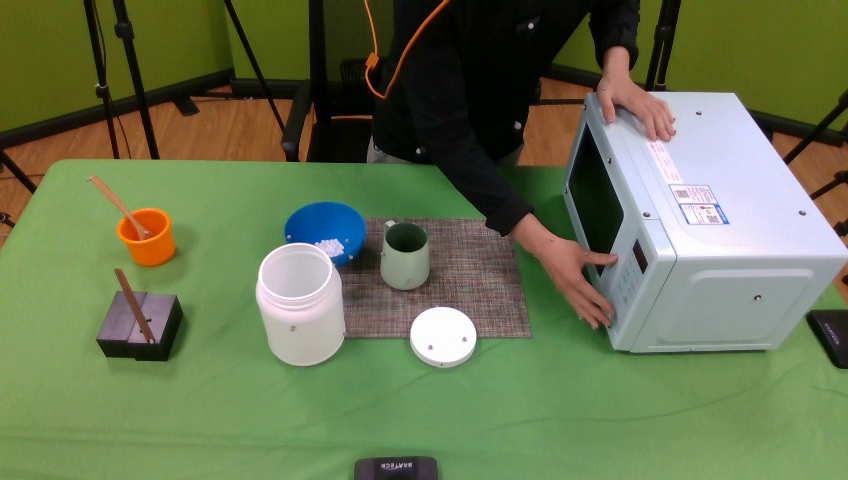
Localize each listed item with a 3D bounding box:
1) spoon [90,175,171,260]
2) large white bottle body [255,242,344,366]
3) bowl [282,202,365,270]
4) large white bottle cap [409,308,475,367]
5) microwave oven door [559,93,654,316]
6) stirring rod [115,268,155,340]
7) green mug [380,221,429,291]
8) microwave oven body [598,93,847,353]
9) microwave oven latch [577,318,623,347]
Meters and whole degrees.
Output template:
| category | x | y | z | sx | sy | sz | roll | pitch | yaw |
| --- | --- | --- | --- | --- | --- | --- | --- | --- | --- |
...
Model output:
| category | x | y | z | sx | sy | sz | roll | pitch | yaw |
| --- | --- | --- | --- | --- | --- | --- | --- | --- | --- |
| spoon | -0.538 | -0.042 | 1.111 | 0.021 | 0.194 | 0.041 | -14 | 26 | 51 |
| large white bottle body | -0.196 | 0.102 | 0.967 | 0.131 | 0.185 | 0.130 | 2 | 49 | -2 |
| bowl | -0.185 | 0.006 | 1.136 | 0.151 | 0.077 | 0.150 | 3 | 46 | -3 |
| large white bottle cap | 0.031 | 0.166 | 1.041 | 0.115 | 0.018 | 0.114 | 2 | 47 | -2 |
| microwave oven door | 0.327 | -0.074 | 1.123 | 0.039 | 0.245 | 0.353 | -1 | 46 | -5 |
| stirring rod | -0.478 | 0.103 | 0.999 | 0.014 | 0.006 | 0.175 | 7 | 32 | -49 |
| green mug | -0.043 | 0.020 | 1.116 | 0.092 | 0.105 | 0.124 | -20 | 50 | -22 |
| microwave oven body | 0.476 | -0.041 | 1.110 | 0.326 | 0.261 | 0.438 | -1 | 45 | -4 |
| microwave oven latch | 0.307 | 0.153 | 1.042 | 0.079 | 0.029 | 0.030 | 29 | 50 | 23 |
